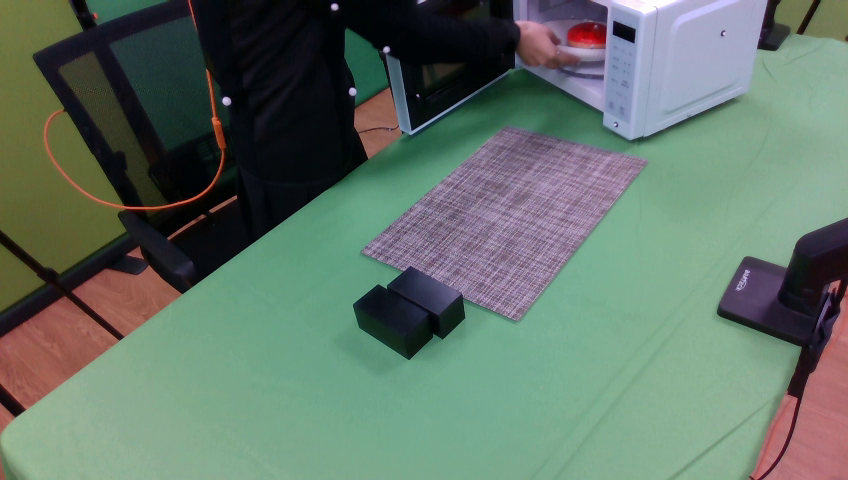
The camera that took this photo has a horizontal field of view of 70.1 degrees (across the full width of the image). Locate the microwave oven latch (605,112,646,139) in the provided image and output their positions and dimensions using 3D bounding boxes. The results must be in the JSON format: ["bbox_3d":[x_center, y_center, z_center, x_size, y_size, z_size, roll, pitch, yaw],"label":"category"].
[{"bbox_3d":[0.375,-0.217,1.130,0.030,0.029,0.078,-24,42,-16],"label":"microwave oven latch"}]

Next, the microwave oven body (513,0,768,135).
[{"bbox_3d":[0.410,-0.441,1.235,0.327,0.261,0.437,-25,42,-16],"label":"microwave oven body"}]

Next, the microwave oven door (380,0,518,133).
[{"bbox_3d":[0.066,-0.409,1.256,0.039,0.245,0.357,28,53,36],"label":"microwave oven door"}]

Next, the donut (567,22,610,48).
[{"bbox_3d":[0.349,-0.425,1.264,0.099,0.048,0.098,2,36,-1],"label":"donut"}]

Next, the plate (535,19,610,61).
[{"bbox_3d":[0.337,-0.420,1.278,0.209,0.038,0.208,1,35,0],"label":"plate"}]
